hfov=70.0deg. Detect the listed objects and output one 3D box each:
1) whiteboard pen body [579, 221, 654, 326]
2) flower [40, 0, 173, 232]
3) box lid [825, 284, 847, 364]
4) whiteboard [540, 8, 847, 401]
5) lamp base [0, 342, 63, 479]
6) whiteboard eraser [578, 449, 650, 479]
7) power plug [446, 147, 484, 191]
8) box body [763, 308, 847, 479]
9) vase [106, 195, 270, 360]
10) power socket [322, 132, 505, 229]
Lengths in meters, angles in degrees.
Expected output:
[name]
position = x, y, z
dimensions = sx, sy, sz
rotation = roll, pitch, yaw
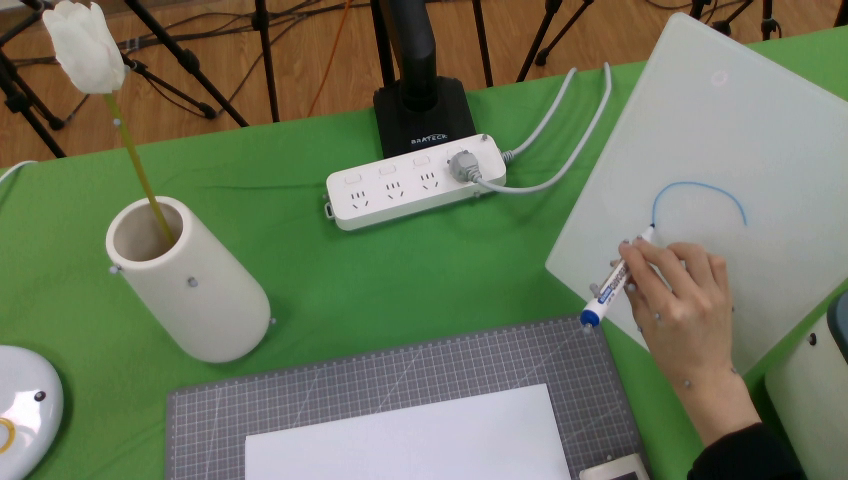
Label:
[whiteboard pen body]
position = 0.166, 0.023, 0.509
dimensions = 0.017, 0.017, 0.140
rotation = 32, 52, 20
[flower]
position = -0.217, -0.017, 0.507
dimensions = 0.038, 0.365, 0.043
rotation = -21, 43, -17
[box lid]
position = 0.467, 0.170, 0.398
dimensions = 0.263, 0.015, 0.368
rotation = -11, 62, -4
[whiteboard]
position = 0.280, -0.036, 0.564
dimensions = 0.144, 0.307, 0.215
rotation = -31, 61, -35
[lamp base]
position = -0.457, 0.134, 0.538
dimensions = 0.178, 0.182, 0.160
rotation = 18, 62, 16
[whiteboard eraser]
position = 0.180, 0.243, 0.522
dimensions = 0.055, 0.042, 0.111
rotation = -15, 60, -7
[power plug]
position = 0.046, -0.073, 0.690
dimensions = 0.035, 0.053, 0.072
rotation = -7, 62, 0
[box body]
position = 0.471, 0.209, 0.462
dimensions = 0.254, 0.162, 0.360
rotation = -11, 61, -4
[vase]
position = -0.216, 0.040, 0.569
dimensions = 0.098, 0.202, 0.097
rotation = -2, 60, 4
[power socket]
position = -0.011, -0.072, 0.719
dimensions = 0.227, 0.033, 0.071
rotation = -15, 62, -6
